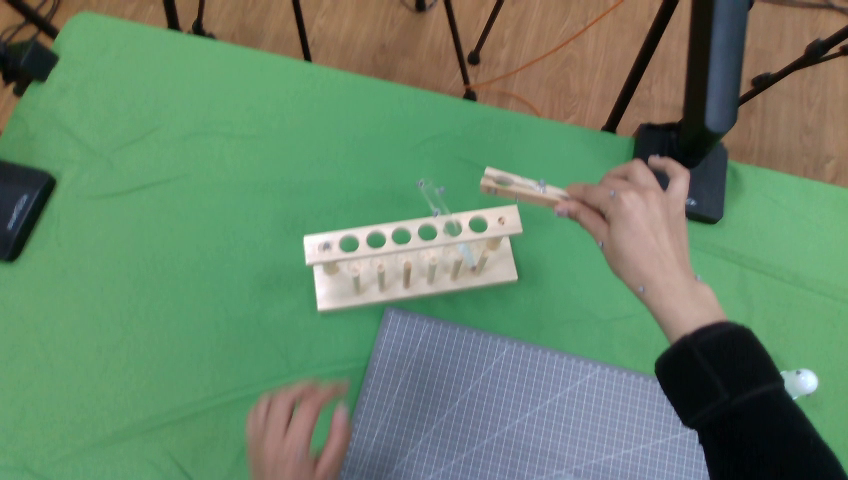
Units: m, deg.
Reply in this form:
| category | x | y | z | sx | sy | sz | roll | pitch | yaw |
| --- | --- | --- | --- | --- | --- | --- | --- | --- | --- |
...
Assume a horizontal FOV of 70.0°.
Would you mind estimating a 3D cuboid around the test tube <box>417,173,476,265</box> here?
| category | x | y | z | sx | sy | sz | roll | pitch | yaw |
| --- | --- | --- | --- | --- | --- | --- | --- | --- | --- |
| test tube | 0.028 | -0.019 | 0.674 | 0.017 | 0.152 | 0.017 | -15 | 47 | 17 |

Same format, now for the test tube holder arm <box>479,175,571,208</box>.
| category | x | y | z | sx | sy | sz | roll | pitch | yaw |
| --- | --- | --- | --- | --- | --- | --- | --- | --- | --- |
| test tube holder arm | 0.095 | -0.046 | 0.571 | 0.087 | 0.015 | 0.010 | 13 | 61 | 12 |

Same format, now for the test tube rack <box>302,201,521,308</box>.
| category | x | y | z | sx | sy | sz | roll | pitch | yaw |
| --- | --- | --- | --- | --- | --- | --- | --- | --- | --- |
| test tube rack | -0.011 | 0.018 | 0.704 | 0.242 | 0.085 | 0.066 | -8 | 70 | -5 |

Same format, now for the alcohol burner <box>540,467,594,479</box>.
| category | x | y | z | sx | sy | sz | roll | pitch | yaw |
| --- | --- | --- | --- | --- | --- | --- | --- | --- | --- |
| alcohol burner | 0.148 | 0.267 | 0.602 | 0.078 | 0.120 | 0.077 | 1 | 71 | -2 |

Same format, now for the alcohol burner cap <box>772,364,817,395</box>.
| category | x | y | z | sx | sy | sz | roll | pitch | yaw |
| --- | --- | --- | --- | --- | --- | --- | --- | --- | --- |
| alcohol burner cap | 0.426 | 0.158 | 0.693 | 0.034 | 0.048 | 0.033 | 1 | 69 | -2 |

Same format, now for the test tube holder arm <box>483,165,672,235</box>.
| category | x | y | z | sx | sy | sz | roll | pitch | yaw |
| --- | --- | --- | --- | --- | --- | --- | --- | --- | --- |
| test tube holder arm | 0.139 | -0.038 | 0.562 | 0.177 | 0.015 | 0.013 | 18 | 63 | 15 |
